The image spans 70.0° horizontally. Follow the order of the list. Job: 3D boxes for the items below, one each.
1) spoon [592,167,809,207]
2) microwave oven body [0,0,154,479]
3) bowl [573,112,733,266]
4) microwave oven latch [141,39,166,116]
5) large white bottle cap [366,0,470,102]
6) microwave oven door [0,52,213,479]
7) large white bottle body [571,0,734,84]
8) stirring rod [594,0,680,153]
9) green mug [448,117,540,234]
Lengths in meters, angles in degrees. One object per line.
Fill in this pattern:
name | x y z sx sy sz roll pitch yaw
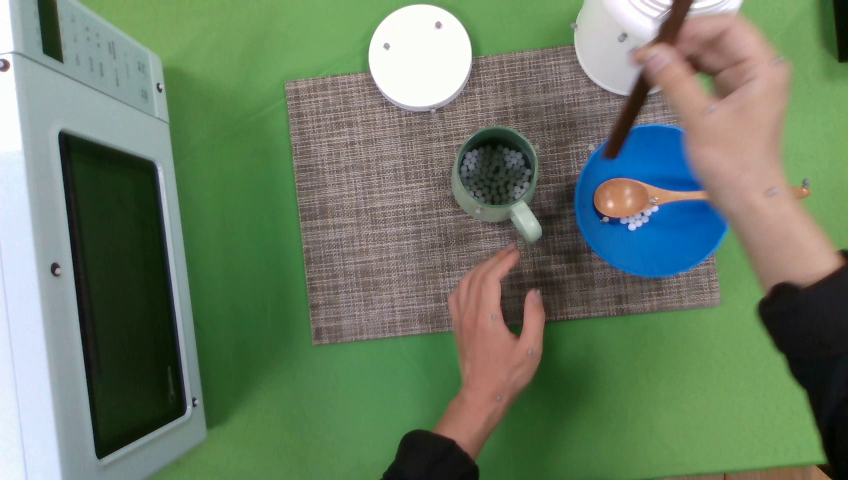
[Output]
spoon | 0.265 -0.054 0.594 0.193 0.022 0.041 1 93 27
microwave oven body | -0.435 0.018 0.575 0.326 0.260 0.441 -8 90 3
bowl | 0.224 -0.048 0.624 0.151 0.077 0.151 0 89 4
microwave oven latch | -0.306 -0.176 0.664 0.030 0.029 0.079 -8 90 3
large white bottle cap | -0.007 -0.211 0.670 0.115 0.018 0.114 0 88 4
microwave oven door | -0.285 0.039 0.560 0.039 0.244 0.355 -9 89 4
large white bottle body | 0.217 -0.238 0.573 0.130 0.185 0.130 0 85 4
stirring rod | 0.147 -0.120 0.415 0.014 0.177 0.005 5 56 0
green mug | 0.080 -0.062 0.620 0.092 0.105 0.125 -34 88 2
